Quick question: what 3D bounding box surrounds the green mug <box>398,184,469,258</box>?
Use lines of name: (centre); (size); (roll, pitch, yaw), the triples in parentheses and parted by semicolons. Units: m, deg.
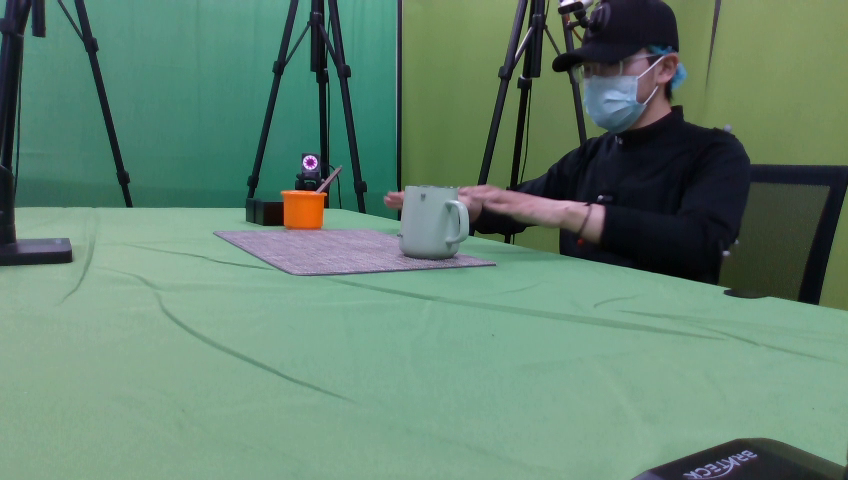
green mug: (0.020, -0.028, 0.890); (0.093, 0.105, 0.124); (-4, 9, -41)

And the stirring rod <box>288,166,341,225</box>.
stirring rod: (-0.222, -0.093, 1.238); (0.014, 0.006, 0.176); (5, 49, 41)
